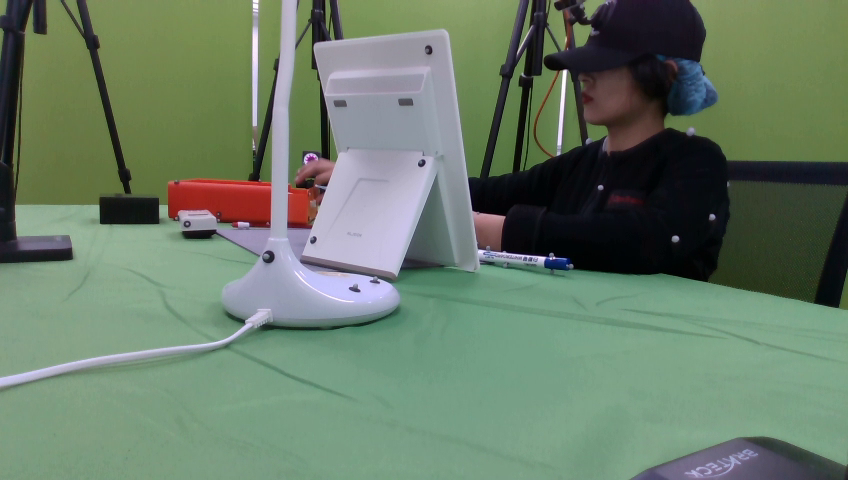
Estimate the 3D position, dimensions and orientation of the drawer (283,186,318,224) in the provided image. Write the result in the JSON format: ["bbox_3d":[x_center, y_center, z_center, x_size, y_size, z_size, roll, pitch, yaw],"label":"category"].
[{"bbox_3d":[-0.343,-0.083,1.310,0.212,0.073,0.194,2,8,-4],"label":"drawer"}]

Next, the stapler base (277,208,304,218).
[{"bbox_3d":[-0.285,-0.059,1.297,0.041,0.024,0.130,1,-1,-4],"label":"stapler base"}]

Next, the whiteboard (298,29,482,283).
[{"bbox_3d":[-0.075,-0.082,0.742,0.216,0.305,0.144,9,29,37],"label":"whiteboard"}]

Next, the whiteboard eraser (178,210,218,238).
[{"bbox_3d":[-0.380,-0.027,1.014,0.056,0.042,0.112,0,8,-25],"label":"whiteboard eraser"}]

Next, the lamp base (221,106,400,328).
[{"bbox_3d":[-0.101,-0.023,0.531,0.160,0.180,0.179,4,10,10],"label":"lamp base"}]

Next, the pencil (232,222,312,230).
[{"bbox_3d":[-0.261,-0.025,1.141,0.195,0.012,0.012,2,7,-26],"label":"pencil"}]

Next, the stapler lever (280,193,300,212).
[{"bbox_3d":[-0.286,-0.080,1.298,0.027,0.040,0.118,1,4,-4],"label":"stapler lever"}]

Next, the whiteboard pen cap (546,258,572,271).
[{"bbox_3d":[0.175,0.032,0.790,0.033,0.018,0.018,3,6,37],"label":"whiteboard pen cap"}]

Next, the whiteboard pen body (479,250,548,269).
[{"bbox_3d":[0.129,0.028,0.827,0.140,0.017,0.017,6,8,39],"label":"whiteboard pen body"}]

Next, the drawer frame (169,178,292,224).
[{"bbox_3d":[-0.406,-0.087,1.304,0.214,0.082,0.201,1,8,-5],"label":"drawer frame"}]
